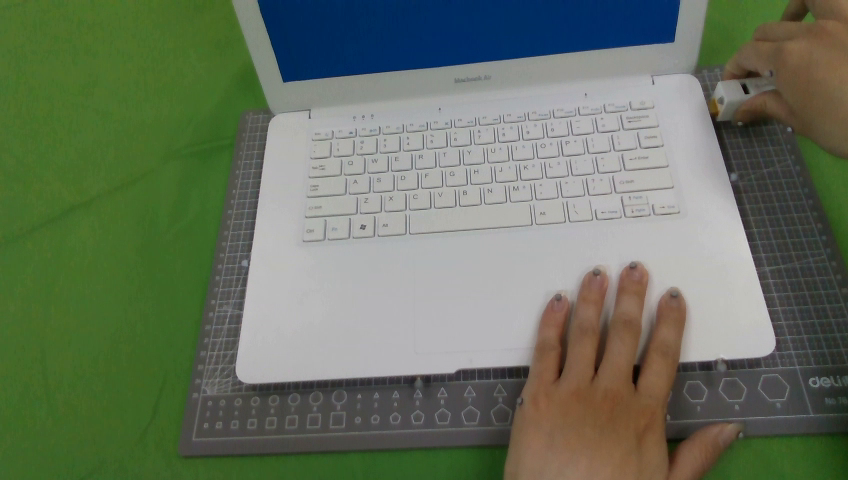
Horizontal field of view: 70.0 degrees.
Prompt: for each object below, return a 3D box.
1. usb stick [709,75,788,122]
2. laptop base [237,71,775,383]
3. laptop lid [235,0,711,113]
[{"bbox_3d":[0.239,-0.106,0.459,0.059,0.027,0.021,-8,61,4],"label":"usb stick"},{"bbox_3d":[0.045,-0.016,0.451,0.354,0.023,0.233,-4,64,6],"label":"laptop base"},{"bbox_3d":[0.030,-0.204,0.428,0.356,0.244,0.013,-5,43,7],"label":"laptop lid"}]
